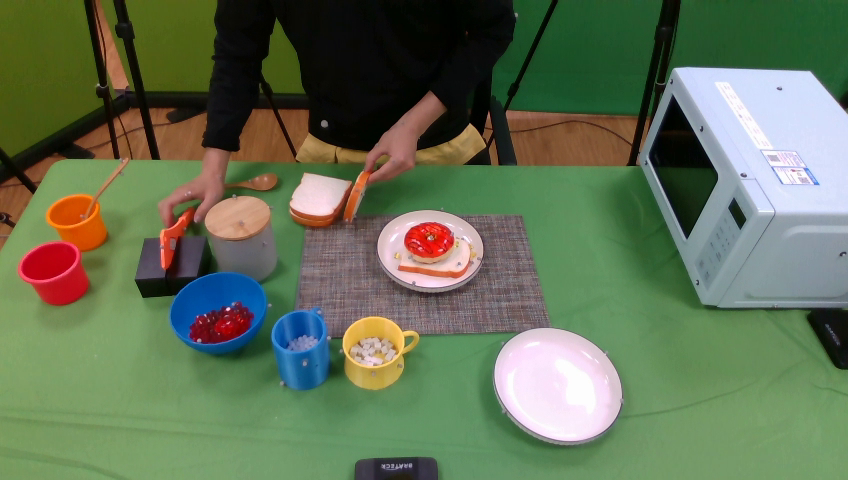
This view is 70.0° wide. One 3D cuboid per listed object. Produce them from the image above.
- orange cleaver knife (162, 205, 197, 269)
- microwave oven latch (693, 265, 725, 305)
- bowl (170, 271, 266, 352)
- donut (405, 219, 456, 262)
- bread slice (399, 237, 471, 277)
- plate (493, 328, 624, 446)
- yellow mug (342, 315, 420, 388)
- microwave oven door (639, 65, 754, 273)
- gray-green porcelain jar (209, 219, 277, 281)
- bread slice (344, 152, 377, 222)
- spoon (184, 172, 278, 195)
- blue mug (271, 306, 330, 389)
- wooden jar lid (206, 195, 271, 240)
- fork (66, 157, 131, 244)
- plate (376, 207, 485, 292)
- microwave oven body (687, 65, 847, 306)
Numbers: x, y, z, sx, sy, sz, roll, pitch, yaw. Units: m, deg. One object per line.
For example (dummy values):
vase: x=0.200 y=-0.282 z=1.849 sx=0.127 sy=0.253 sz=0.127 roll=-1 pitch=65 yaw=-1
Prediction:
orange cleaver knife: x=-0.454 y=-0.010 z=1.129 sx=0.012 sy=0.077 sz=0.210 roll=-1 pitch=20 yaw=-5
microwave oven latch: x=0.523 y=0.081 z=1.115 sx=0.030 sy=0.029 sz=0.078 roll=2 pitch=46 yaw=-1
bowl: x=-0.333 y=0.132 z=1.006 sx=0.151 sy=0.077 sz=0.150 roll=2 pitch=46 yaw=-2
donut: x=0.012 y=0.000 z=1.140 sx=0.099 sy=0.048 sz=0.098 roll=0 pitch=44 yaw=0
bread slice: x=0.025 y=0.025 z=1.160 sx=0.131 sy=0.019 sz=0.104 roll=6 pitch=47 yaw=7
plate: x=0.213 y=0.236 z=0.974 sx=0.208 sy=0.039 sz=0.206 roll=2 pitch=46 yaw=-2
yellow mug: x=-0.068 y=0.177 z=0.990 sx=0.131 sy=0.064 sz=0.099 roll=-16 pitch=50 yaw=-19
microwave oven door: x=0.522 y=-0.147 z=1.192 sx=0.039 sy=0.245 sz=0.353 roll=0 pitch=47 yaw=-3
gray-green porcelain jar: x=-0.323 y=0.007 z=1.092 sx=0.106 sy=0.127 sz=0.105 roll=2 pitch=46 yaw=-2
bread slice: x=-0.130 y=-0.100 z=1.214 sx=0.018 sy=0.107 sz=0.133 roll=20 pitch=45 yaw=-2
spoon: x=-0.405 y=-0.116 z=1.275 sx=0.194 sy=0.022 sz=0.041 roll=-8 pitch=64 yaw=-12
blue mug: x=-0.188 y=0.163 z=0.969 sx=0.082 sy=0.106 sz=0.116 roll=15 pitch=47 yaw=10
wooden jar lid: x=-0.319 y=-0.036 z=1.046 sx=0.108 sy=0.021 sz=0.107 roll=1 pitch=44 yaw=0
fork: x=-0.608 y=-0.074 z=1.132 sx=0.207 sy=0.019 sz=0.028 roll=-52 pitch=48 yaw=10
plate: x=0.012 y=0.021 z=1.158 sx=0.209 sy=0.038 sz=0.208 roll=2 pitch=47 yaw=-2
microwave oven body: x=0.669 y=-0.111 z=1.176 sx=0.326 sy=0.261 sz=0.439 roll=0 pitch=46 yaw=-3
